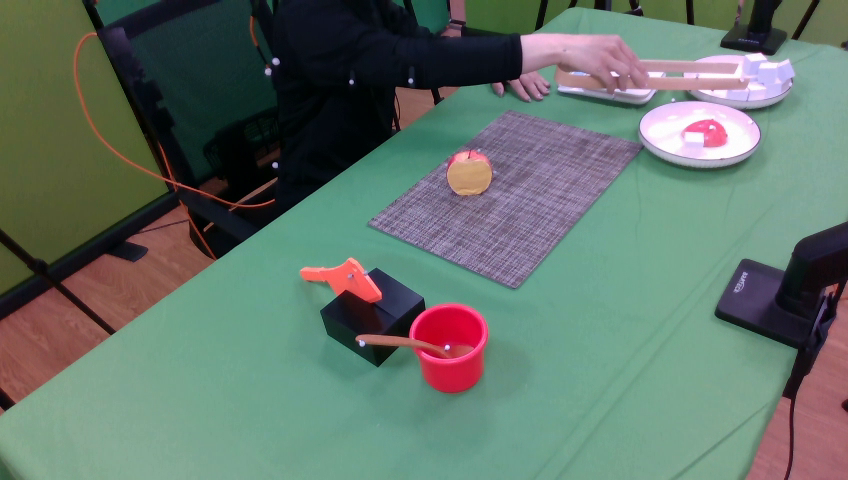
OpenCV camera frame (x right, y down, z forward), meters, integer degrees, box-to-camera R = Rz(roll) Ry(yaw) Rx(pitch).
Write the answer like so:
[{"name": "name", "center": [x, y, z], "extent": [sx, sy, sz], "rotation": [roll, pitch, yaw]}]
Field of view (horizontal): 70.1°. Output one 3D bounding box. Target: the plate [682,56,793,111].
[{"name": "plate", "center": [0.636, -0.317, 1.239], "extent": [0.207, 0.039, 0.206], "rotation": [-4, 40, 4]}]

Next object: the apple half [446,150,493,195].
[{"name": "apple half", "center": [0.080, -0.123, 1.065], "extent": [0.081, 0.075, 0.053], "rotation": [-7, 36, 7]}]

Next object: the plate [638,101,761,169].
[{"name": "plate", "center": [0.500, -0.190, 1.111], "extent": [0.209, 0.038, 0.208], "rotation": [-4, 41, 4]}]

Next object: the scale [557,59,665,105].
[{"name": "scale", "center": [0.407, -0.348, 1.314], "extent": [0.199, 0.032, 0.149], "rotation": [19, 47, 28]}]

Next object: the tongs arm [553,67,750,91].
[{"name": "tongs arm", "center": [0.435, -0.306, 1.147], "extent": [0.386, 0.026, 0.050], "rotation": [-3, 45, -12]}]

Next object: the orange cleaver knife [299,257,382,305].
[{"name": "orange cleaver knife", "center": [-0.124, 0.062, 0.872], "extent": [0.012, 0.077, 0.210], "rotation": [-38, 17, -30]}]

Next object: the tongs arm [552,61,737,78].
[{"name": "tongs arm", "center": [0.431, -0.327, 1.170], "extent": [0.389, 0.028, 0.028], "rotation": [-2, 48, -11]}]

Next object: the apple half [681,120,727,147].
[{"name": "apple half", "center": [0.518, -0.202, 1.115], "extent": [0.081, 0.033, 0.081], "rotation": [-1, 40, 2]}]

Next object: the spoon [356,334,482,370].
[{"name": "spoon", "center": [-0.001, 0.130, 0.731], "extent": [0.195, 0.021, 0.041], "rotation": [22, 28, -39]}]
